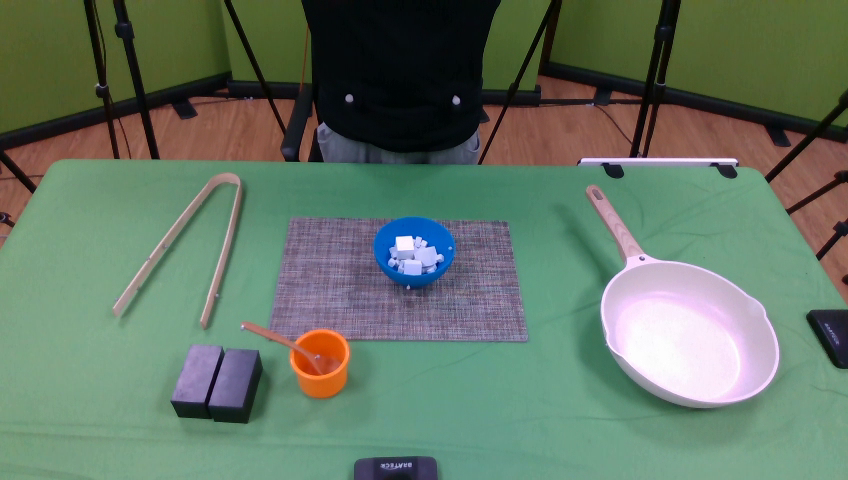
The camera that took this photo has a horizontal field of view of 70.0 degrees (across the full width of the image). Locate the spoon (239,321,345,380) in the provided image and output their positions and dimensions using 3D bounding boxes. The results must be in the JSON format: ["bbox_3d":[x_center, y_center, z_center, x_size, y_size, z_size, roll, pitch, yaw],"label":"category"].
[{"bbox_3d":[-0.200,0.168,0.934,0.021,0.195,0.041,-33,36,25],"label":"spoon"}]

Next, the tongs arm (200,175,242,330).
[{"bbox_3d":[-0.386,0.008,1.158,0.028,0.028,0.385,-1,46,-3],"label":"tongs arm"}]

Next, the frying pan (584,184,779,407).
[{"bbox_3d":[0.412,0.079,1.097,0.307,0.103,0.484,-10,56,-15],"label":"frying pan"}]

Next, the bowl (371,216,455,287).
[{"bbox_3d":[-0.022,0.034,1.119,0.151,0.077,0.150,2,46,-2],"label":"bowl"}]

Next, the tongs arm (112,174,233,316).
[{"bbox_3d":[-0.466,-0.004,1.157,0.051,0.026,0.383,11,45,4],"label":"tongs arm"}]
